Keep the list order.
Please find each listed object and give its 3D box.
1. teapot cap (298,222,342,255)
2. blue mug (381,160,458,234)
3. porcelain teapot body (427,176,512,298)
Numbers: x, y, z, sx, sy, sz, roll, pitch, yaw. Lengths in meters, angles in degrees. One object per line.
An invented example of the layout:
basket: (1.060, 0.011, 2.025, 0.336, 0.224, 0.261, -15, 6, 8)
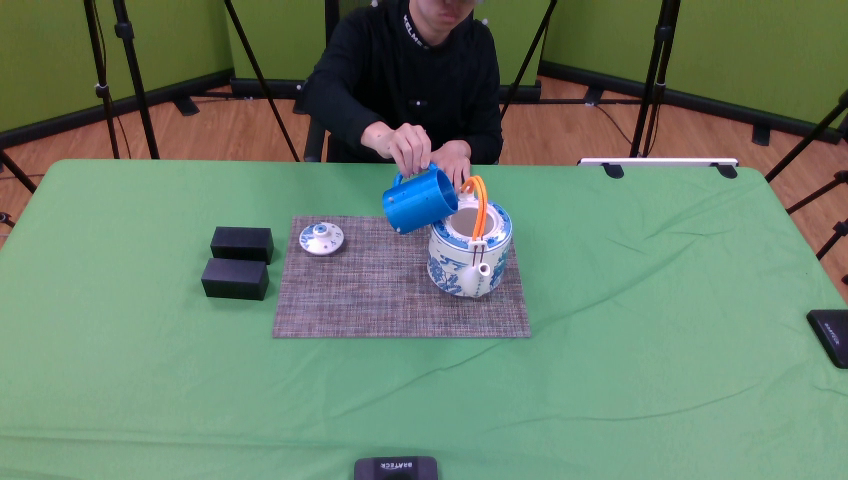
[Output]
teapot cap: (-0.201, -0.008, 1.171, 0.085, 0.044, 0.084, 1, 47, -1)
blue mug: (-0.011, -0.081, 1.031, 0.106, 0.083, 0.116, -22, 70, 20)
porcelain teapot body: (0.085, 0.010, 1.051, 0.145, 0.226, 0.204, -5, 47, -8)
